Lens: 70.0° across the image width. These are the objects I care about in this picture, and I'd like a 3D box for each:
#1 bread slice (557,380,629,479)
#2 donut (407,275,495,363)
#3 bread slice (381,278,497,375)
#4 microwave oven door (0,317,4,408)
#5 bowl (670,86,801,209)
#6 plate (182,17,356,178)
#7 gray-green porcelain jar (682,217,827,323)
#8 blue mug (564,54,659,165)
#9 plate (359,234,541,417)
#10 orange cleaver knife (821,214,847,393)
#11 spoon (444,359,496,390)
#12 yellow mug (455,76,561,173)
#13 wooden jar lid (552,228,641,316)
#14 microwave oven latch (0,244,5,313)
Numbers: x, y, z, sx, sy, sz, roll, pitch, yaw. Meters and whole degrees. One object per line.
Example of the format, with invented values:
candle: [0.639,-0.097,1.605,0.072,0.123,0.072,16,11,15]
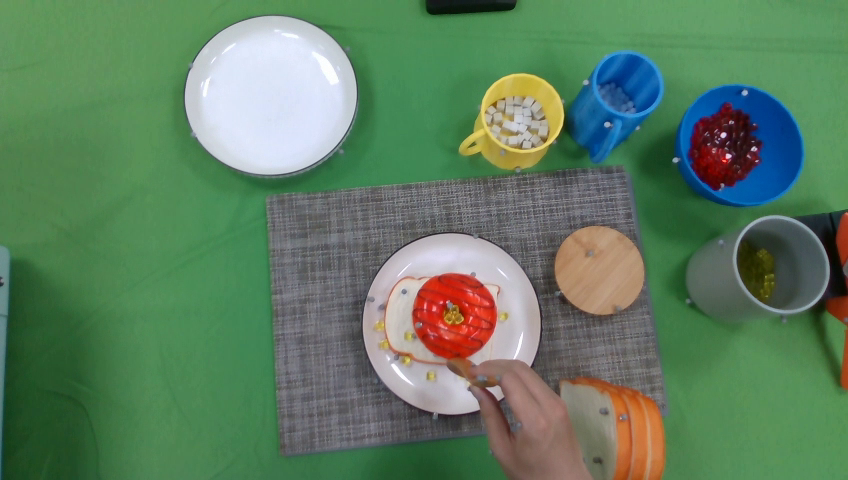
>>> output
bread slice: [0.176,0.202,0.643,0.018,0.134,0.106,3,77,-11]
donut: [0.030,0.087,0.675,0.099,0.048,0.098,1,77,-4]
bread slice: [0.016,0.096,0.703,0.132,0.019,0.104,9,77,-4]
microwave oven door: [-0.462,0.234,0.526,0.039,0.244,0.354,-5,78,-4]
bowl: [0.366,-0.103,0.744,0.151,0.077,0.150,1,79,-3]
plate: [-0.187,-0.172,0.747,0.208,0.039,0.206,1,78,-3]
gray-green porcelain jar: [0.366,0.040,0.690,0.106,0.127,0.105,1,78,-3]
blue mug: [0.219,-0.147,0.731,0.082,0.106,0.116,15,78,1]
plate: [0.030,0.097,0.701,0.209,0.038,0.208,1,78,-3]
orange cleaver knife: [0.497,0.076,0.713,0.012,0.076,0.212,-8,108,-4]
spoon: [0.046,0.131,0.578,0.041,0.194,0.021,28,83,0]
yellow mug: [0.097,-0.133,0.741,0.131,0.064,0.099,-26,80,-7]
wooden jar lid: [0.207,0.039,0.732,0.108,0.021,0.108,1,79,-3]
microwave oven latch: [-0.483,0.041,0.667,0.030,0.029,0.079,-2,79,-4]
